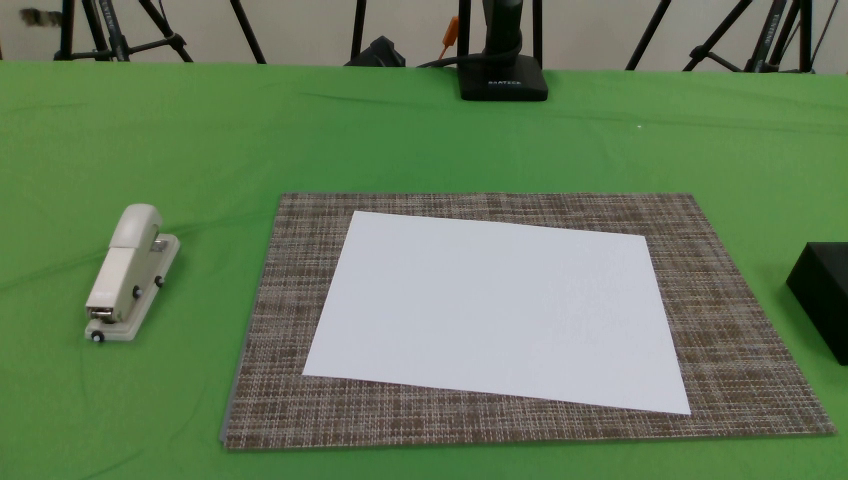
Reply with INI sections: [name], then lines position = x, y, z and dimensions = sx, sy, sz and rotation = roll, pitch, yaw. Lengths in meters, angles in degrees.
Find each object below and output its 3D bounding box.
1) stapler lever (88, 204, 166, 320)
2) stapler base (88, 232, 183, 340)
[stapler lever]
position = -0.254, 0.015, 0.521
dimensions = 0.027, 0.040, 0.117
rotation = 1, 42, 1
[stapler base]
position = -0.255, 0.032, 0.538
dimensions = 0.041, 0.024, 0.129
rotation = 1, 43, 1
